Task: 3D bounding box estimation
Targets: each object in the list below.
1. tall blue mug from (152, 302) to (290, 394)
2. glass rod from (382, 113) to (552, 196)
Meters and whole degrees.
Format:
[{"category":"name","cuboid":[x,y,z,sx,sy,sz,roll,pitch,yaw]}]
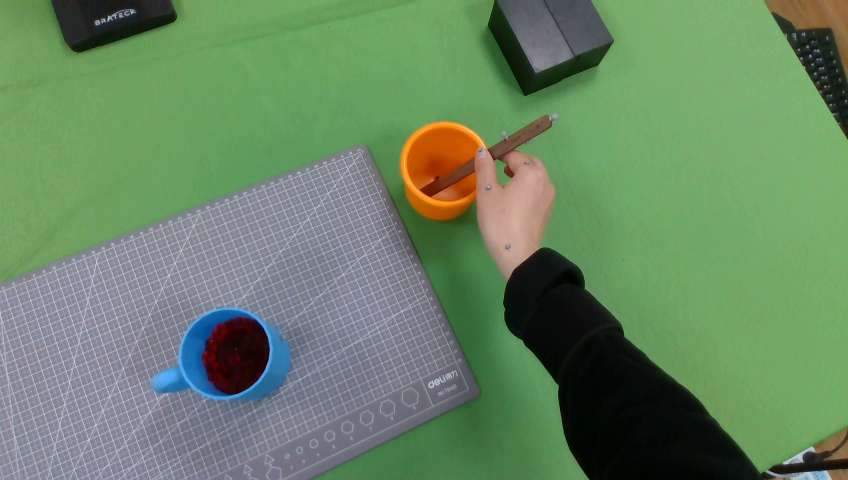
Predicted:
[{"category":"tall blue mug","cuboid":[-0.179,0.113,0.550,0.077,0.108,0.107,41,76,5]},{"category":"glass rod","cuboid":[0.037,-0.082,0.605,0.199,0.008,0.008,-22,76,29]}]
